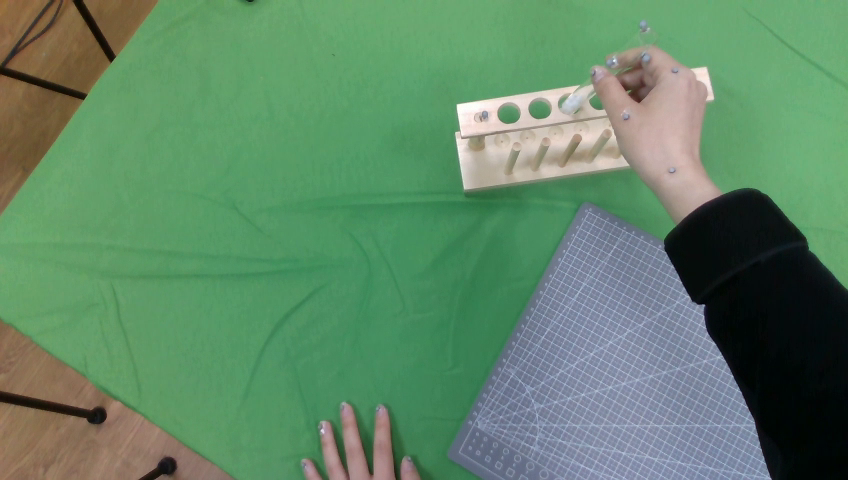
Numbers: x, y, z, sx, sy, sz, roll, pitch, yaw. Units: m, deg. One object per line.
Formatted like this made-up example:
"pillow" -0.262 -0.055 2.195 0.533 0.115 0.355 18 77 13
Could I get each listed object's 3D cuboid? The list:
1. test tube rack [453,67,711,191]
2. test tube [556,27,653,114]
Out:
"test tube rack" 0.154 -0.109 0.614 0.242 0.085 0.066 -8 79 0
"test tube" 0.148 -0.139 0.522 0.017 0.150 0.017 2 79 -13
